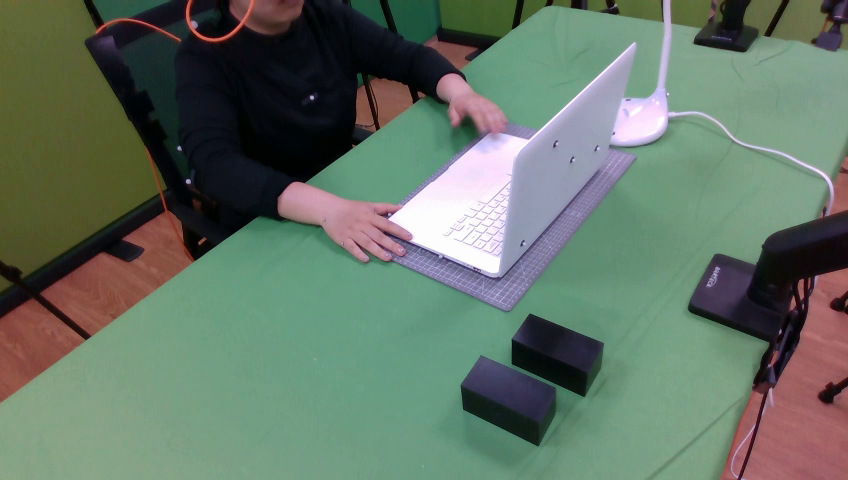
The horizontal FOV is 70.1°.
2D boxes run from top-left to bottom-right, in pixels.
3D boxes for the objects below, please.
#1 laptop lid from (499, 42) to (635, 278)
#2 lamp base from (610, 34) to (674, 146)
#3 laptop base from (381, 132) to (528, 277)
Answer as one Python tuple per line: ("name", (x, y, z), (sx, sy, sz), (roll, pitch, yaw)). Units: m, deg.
("laptop lid", (0.216, -0.122, 0.898), (0.013, 0.242, 0.358), (28, 50, 25))
("lamp base", (0.392, -0.291, 1.129), (0.180, 0.181, 0.159), (-11, 41, -8))
("laptop base", (0.122, -0.077, 1.043), (0.233, 0.023, 0.355), (20, 47, 33))
